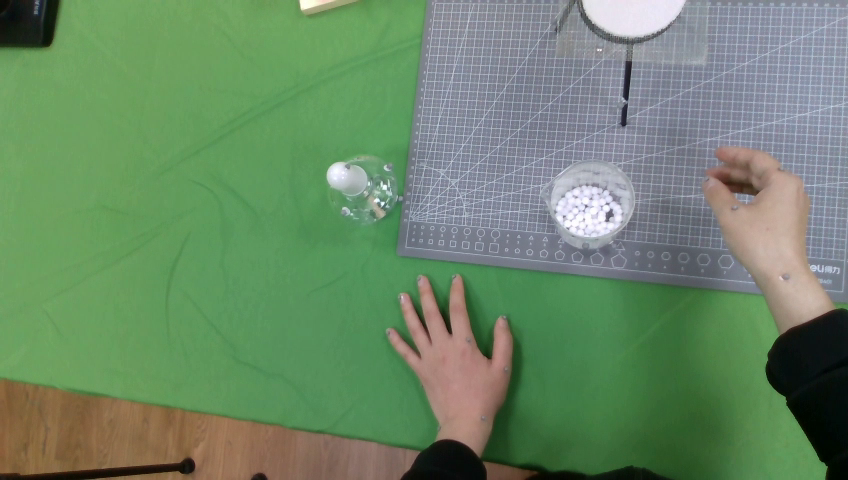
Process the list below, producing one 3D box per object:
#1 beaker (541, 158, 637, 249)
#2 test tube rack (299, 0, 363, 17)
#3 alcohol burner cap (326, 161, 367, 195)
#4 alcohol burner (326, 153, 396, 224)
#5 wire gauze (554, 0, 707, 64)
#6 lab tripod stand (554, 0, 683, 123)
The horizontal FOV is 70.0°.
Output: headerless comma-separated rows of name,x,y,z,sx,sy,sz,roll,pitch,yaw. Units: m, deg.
beaker,0.156,-0.031,0.583,0.083,0.101,0.074,12,85,15
test tube rack,-0.042,-0.329,0.671,0.242,0.085,0.066,-12,81,11
alcohol burner cap,-0.080,-0.063,0.598,0.034,0.048,0.034,-1,87,12
alcohol burner,-0.071,-0.058,0.633,0.078,0.120,0.077,-2,81,12
wire gauze,0.176,-0.210,0.511,0.125,0.011,0.121,5,87,14
lab tripod stand,0.190,-0.201,0.577,0.148,0.132,0.148,-1,84,11
